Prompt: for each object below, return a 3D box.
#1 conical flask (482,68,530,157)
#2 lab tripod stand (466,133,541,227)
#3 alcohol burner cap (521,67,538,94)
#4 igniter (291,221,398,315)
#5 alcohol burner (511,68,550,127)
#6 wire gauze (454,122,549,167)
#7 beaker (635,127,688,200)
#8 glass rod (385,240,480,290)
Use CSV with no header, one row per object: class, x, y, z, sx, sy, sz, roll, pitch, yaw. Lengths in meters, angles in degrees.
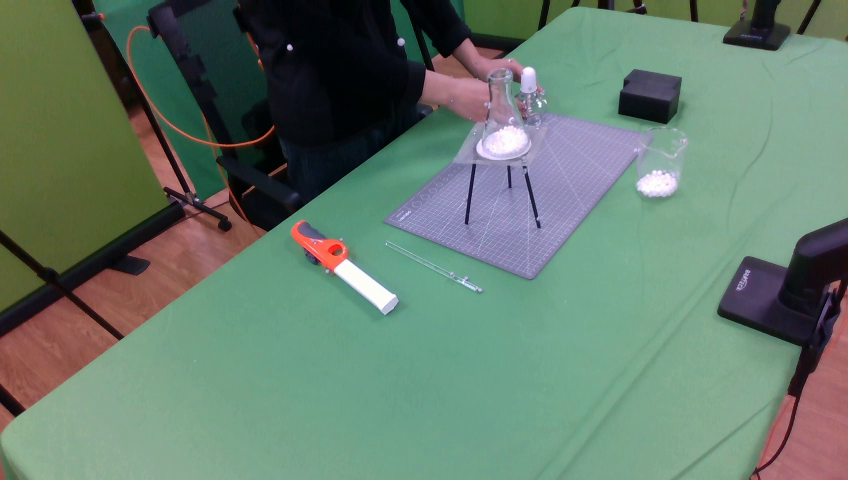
conical flask,0.118,-0.192,0.902,0.075,0.122,0.075,-7,39,6
lab tripod stand,0.130,-0.099,0.985,0.148,0.132,0.147,-6,38,6
alcohol burner cap,0.206,-0.314,1.184,0.034,0.048,0.033,-6,46,7
igniter,-0.136,0.037,0.962,0.057,0.025,0.274,-41,48,-18
alcohol burner,0.211,-0.288,1.208,0.078,0.120,0.077,-7,41,7
wire gauze,0.122,-0.149,0.943,0.121,0.011,0.125,7,44,22
beaker,0.388,-0.122,0.994,0.074,0.101,0.083,-8,40,2
glass rod,0.009,0.037,0.950,0.198,0.008,0.008,27,52,35
